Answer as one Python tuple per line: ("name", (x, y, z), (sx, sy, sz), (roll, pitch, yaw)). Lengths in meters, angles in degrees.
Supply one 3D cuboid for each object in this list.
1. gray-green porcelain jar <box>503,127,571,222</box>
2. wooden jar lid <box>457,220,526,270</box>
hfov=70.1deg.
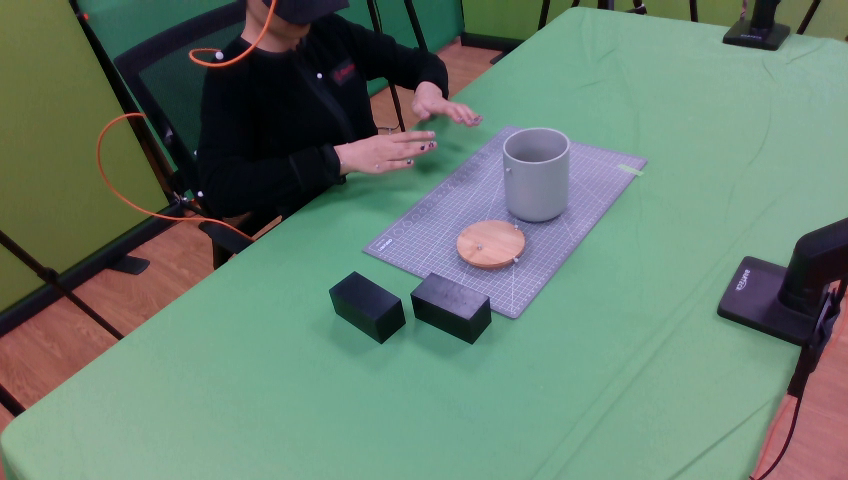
("gray-green porcelain jar", (0.184, -0.102, 0.983), (0.106, 0.127, 0.105), (-5, 40, 5))
("wooden jar lid", (0.106, 0.009, 0.950), (0.108, 0.021, 0.108), (-4, 40, 4))
